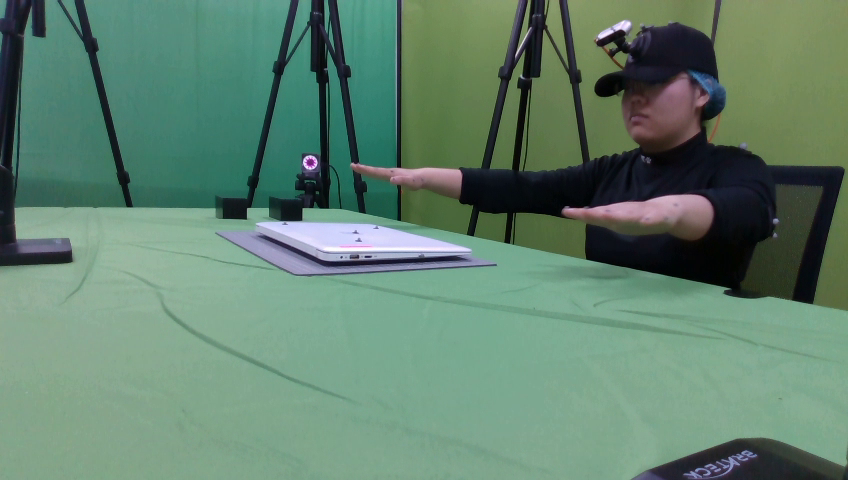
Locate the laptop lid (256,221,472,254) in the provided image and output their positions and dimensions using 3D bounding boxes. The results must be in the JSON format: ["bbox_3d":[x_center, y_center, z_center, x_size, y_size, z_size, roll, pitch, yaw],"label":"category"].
[{"bbox_3d":[-0.112,-0.007,0.972,0.243,0.013,0.355,1,7,-29],"label":"laptop lid"}]

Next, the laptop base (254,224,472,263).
[{"bbox_3d":[-0.115,0.005,0.973,0.237,0.023,0.352,2,6,-31],"label":"laptop base"}]
